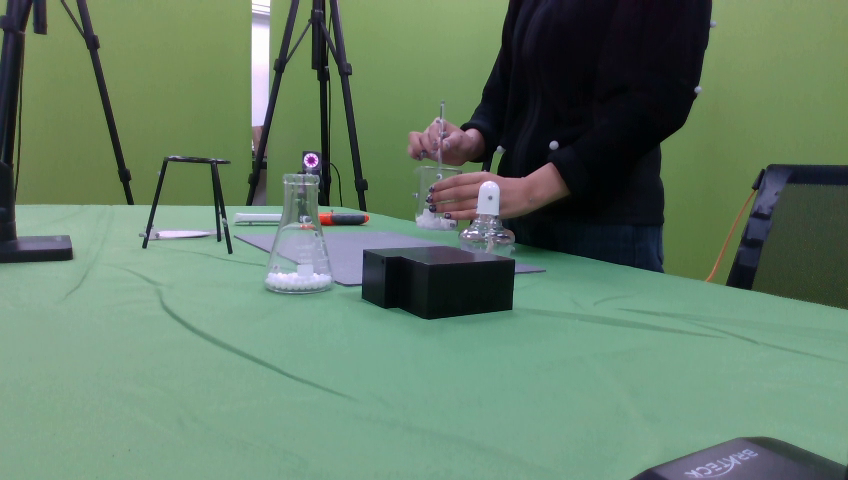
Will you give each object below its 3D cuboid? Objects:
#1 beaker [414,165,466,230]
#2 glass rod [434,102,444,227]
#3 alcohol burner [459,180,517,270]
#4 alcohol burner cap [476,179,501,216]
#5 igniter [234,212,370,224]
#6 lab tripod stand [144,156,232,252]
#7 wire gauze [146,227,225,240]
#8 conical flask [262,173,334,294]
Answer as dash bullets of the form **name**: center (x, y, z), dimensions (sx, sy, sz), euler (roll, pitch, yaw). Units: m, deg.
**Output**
- **beaker**: center (0.021, -0.068, 0.966), dimensions (0.084, 0.100, 0.074), euler (5, 5, 11)
- **glass rod**: center (0.023, -0.120, 0.947), dimensions (0.008, 0.199, 0.008), euler (3, -5, 1)
- **alcohol burner**: center (0.086, -0.021, 0.805), dimensions (0.078, 0.119, 0.078), euler (3, 10, 0)
- **alcohol burner cap**: center (0.086, -0.057, 0.801), dimensions (0.034, 0.048, 0.034), euler (4, 2, 0)
- **igniter**: center (-0.247, -0.046, 1.253), dimensions (0.278, 0.025, 0.057), euler (-1, -3, -27)
- **lab tripod stand**: center (-0.325, -0.054, 0.881), dimensions (0.148, 0.131, 0.148), euler (4, 7, 0)
- **wire gauze**: center (-0.400, -0.012, 1.019), dimensions (0.122, 0.011, 0.124), euler (-1, 6, -26)
- **conical flask**: center (-0.131, -0.009, 0.632), dimensions (0.075, 0.122, 0.075), euler (2, 8, 0)
